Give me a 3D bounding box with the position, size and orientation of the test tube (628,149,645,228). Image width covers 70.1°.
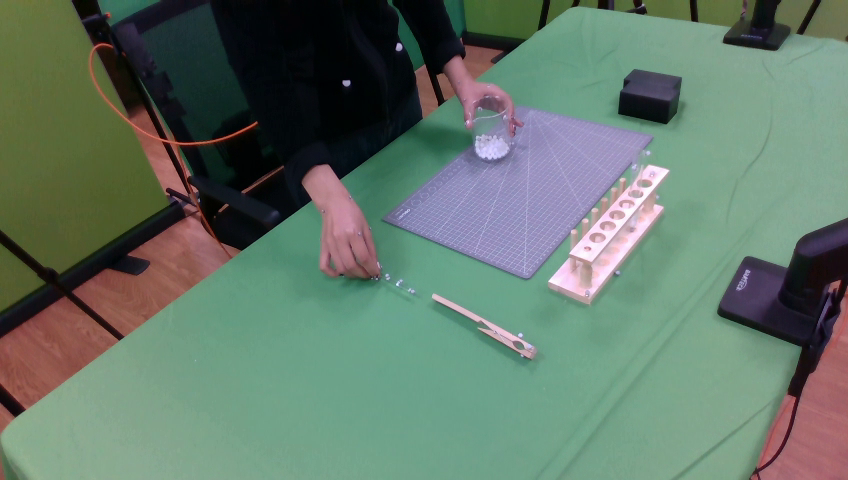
[{"bbox_3d":[0.309,-0.071,0.882,0.017,0.151,0.017,-7,46,8],"label":"test tube"}]

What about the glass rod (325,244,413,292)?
[{"bbox_3d":[-0.091,0.042,0.953,0.198,0.008,0.008,25,51,36],"label":"glass rod"}]

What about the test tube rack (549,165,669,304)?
[{"bbox_3d":[0.279,-0.018,0.902,0.066,0.085,0.243,24,50,33],"label":"test tube rack"}]

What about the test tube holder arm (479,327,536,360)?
[{"bbox_3d":[0.110,0.134,0.805,0.087,0.015,0.010,29,83,36],"label":"test tube holder arm"}]

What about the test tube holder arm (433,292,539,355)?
[{"bbox_3d":[0.081,0.113,0.832,0.177,0.015,0.013,28,82,36],"label":"test tube holder arm"}]

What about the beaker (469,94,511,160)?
[{"bbox_3d":[0.121,-0.205,1.118,0.084,0.101,0.073,-37,48,-25],"label":"beaker"}]
